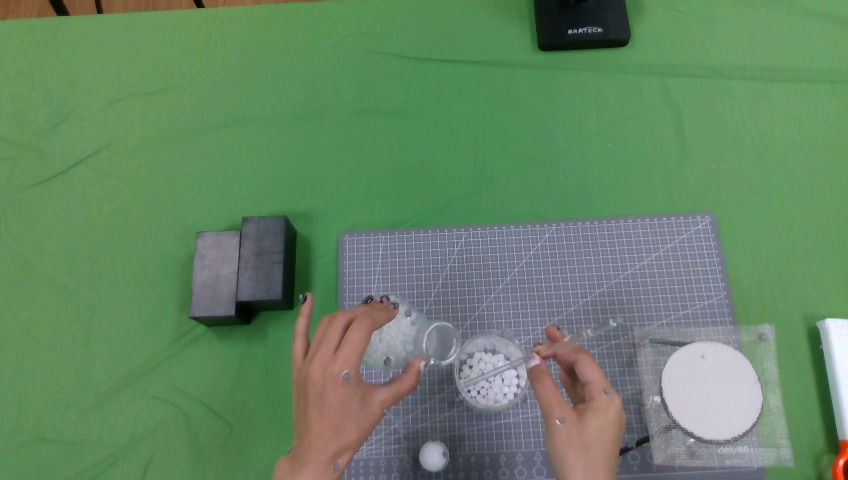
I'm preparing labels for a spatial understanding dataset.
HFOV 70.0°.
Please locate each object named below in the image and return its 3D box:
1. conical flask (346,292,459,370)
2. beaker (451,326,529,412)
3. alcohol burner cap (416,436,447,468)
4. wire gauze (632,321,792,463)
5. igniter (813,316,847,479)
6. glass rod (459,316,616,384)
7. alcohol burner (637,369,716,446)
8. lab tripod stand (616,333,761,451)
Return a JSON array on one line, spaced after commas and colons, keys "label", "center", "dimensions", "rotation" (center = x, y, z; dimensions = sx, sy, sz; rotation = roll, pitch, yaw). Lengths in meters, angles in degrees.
[{"label": "conical flask", "center": [-0.015, 0.085, 0.541], "dimensions": [0.076, 0.121, 0.075], "rotation": [2, 86, -28]}, {"label": "beaker", "center": [0.067, 0.136, 0.627], "dimensions": [0.074, 0.101, 0.083], "rotation": [19, 72, 9]}, {"label": "alcohol burner cap", "center": [0.007, 0.222, 0.631], "dimensions": [0.034, 0.048, 0.033], "rotation": [-1, 72, 3]}, {"label": "wire gauze", "center": [0.251, 0.132, 0.531], "dimensions": [0.125, 0.011, 0.120], "rotation": [-1, 73, 3]}, {"label": "igniter", "center": [0.443, 0.215, 0.626], "dimensions": [0.057, 0.025, 0.275], "rotation": [5, 72, -8]}, {"label": "glass rod", "center": [0.091, 0.101, 0.537], "dimensions": [0.008, 0.200, 0.008], "rotation": [18, 56, -28]}, {"label": "alcohol burner", "center": [0.256, 0.165, 0.602], "dimensions": [0.078, 0.120, 0.077], "rotation": [-1, 71, 5]}, {"label": "lab tripod stand", "center": [0.254, 0.155, 0.595], "dimensions": [0.148, 0.132, 0.147], "rotation": [-1, 73, 2]}]
